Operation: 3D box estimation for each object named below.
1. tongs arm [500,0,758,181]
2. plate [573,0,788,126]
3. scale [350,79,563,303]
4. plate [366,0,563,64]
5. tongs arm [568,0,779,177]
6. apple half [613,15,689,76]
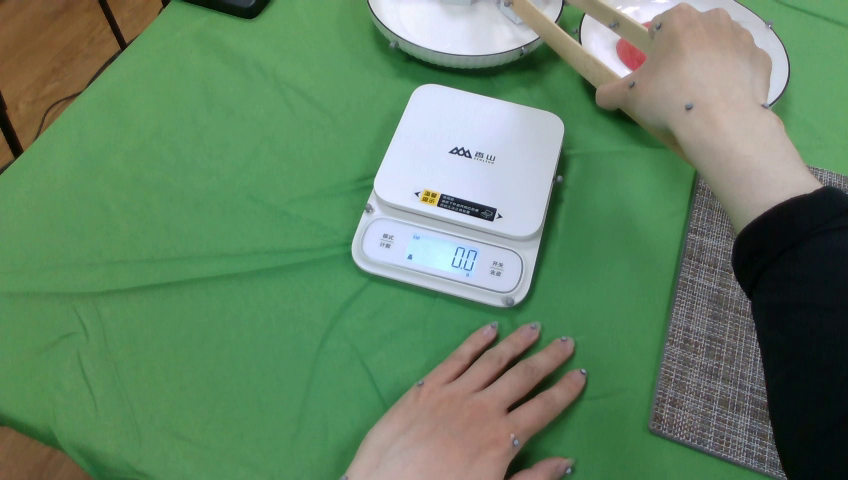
[{"bbox_3d":[0.139,-0.167,0.531,0.028,0.028,0.383,-21,47,-10],"label":"tongs arm"},{"bbox_3d":[0.254,-0.189,0.613,0.209,0.038,0.207,1,58,-1],"label":"plate"},{"bbox_3d":[0.033,-0.050,0.522,0.148,0.032,0.199,15,59,7],"label":"scale"},{"bbox_3d":[0.042,-0.257,0.647,0.208,0.039,0.205,1,58,-1],"label":"plate"},{"bbox_3d":[0.167,-0.178,0.534,0.051,0.027,0.380,-25,47,-9],"label":"tongs arm"},{"bbox_3d":[0.237,-0.205,0.615,0.081,0.033,0.080,0,55,1],"label":"apple half"}]
